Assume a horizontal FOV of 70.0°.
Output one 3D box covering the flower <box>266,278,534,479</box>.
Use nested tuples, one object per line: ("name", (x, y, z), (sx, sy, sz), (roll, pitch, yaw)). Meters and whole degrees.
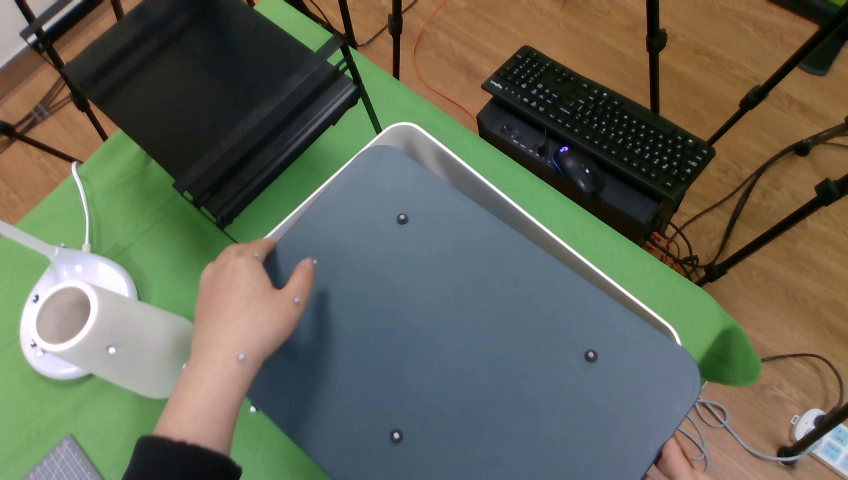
("flower", (-0.023, 0.154, 0.646), (0.360, 0.038, 0.044), (35, 34, 11))

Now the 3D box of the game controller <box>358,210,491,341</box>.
("game controller", (-0.005, 0.032, 0.704), (0.155, 0.052, 0.096), (-43, 64, -10))

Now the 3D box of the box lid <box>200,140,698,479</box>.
("box lid", (0.010, 0.093, 0.517), (0.369, 0.015, 0.263), (36, 78, 16))

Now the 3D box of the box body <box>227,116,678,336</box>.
("box body", (0.023, 0.086, 0.619), (0.254, 0.162, 0.361), (-45, 68, -9))

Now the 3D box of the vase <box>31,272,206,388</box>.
("vase", (-0.319, 0.099, 0.652), (0.098, 0.202, 0.097), (-4, 67, 10))

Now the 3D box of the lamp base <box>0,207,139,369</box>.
("lamp base", (-0.456, 0.044, 0.708), (0.160, 0.182, 0.177), (-15, 63, 3))

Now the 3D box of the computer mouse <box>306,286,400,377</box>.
("computer mouse", (-0.085, 0.101, 0.692), (0.116, 0.041, 0.062), (34, 81, 29))
